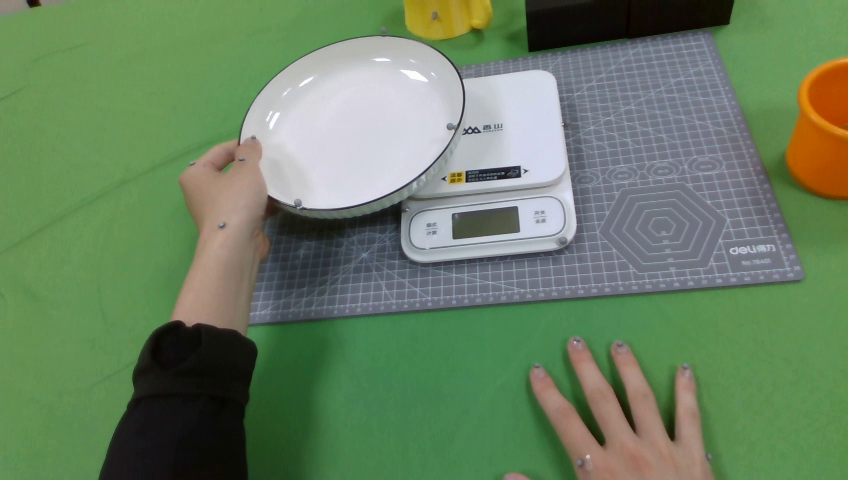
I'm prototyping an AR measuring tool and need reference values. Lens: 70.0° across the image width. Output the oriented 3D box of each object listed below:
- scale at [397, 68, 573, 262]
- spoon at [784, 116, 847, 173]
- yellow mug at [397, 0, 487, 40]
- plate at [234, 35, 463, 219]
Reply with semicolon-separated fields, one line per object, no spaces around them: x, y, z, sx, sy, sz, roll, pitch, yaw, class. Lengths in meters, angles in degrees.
0.050;-0.074;0.549;0.148;0.032;0.199;-6;54;10;scale
0.354;-0.106;0.429;0.022;0.194;0.041;17;53;-29;spoon
0.024;-0.280;0.686;0.100;0.064;0.129;-41;57;-16;yellow mug
-0.066;-0.101;0.547;0.209;0.038;0.207;-6;57;10;plate
